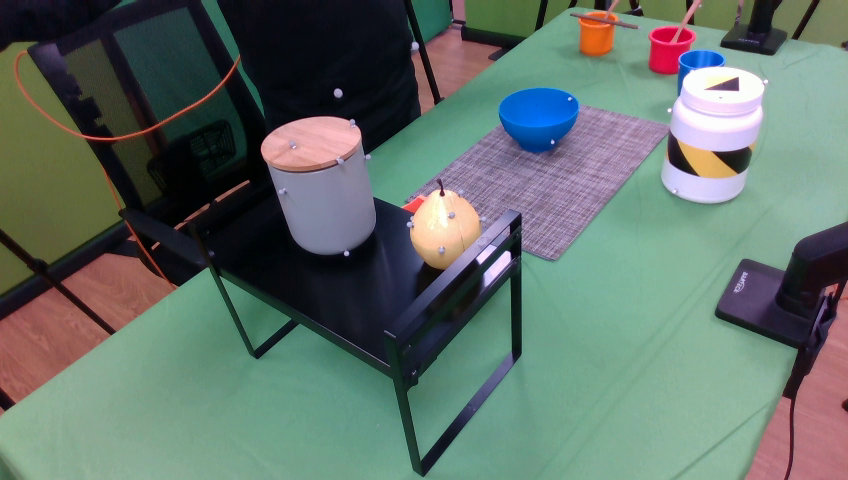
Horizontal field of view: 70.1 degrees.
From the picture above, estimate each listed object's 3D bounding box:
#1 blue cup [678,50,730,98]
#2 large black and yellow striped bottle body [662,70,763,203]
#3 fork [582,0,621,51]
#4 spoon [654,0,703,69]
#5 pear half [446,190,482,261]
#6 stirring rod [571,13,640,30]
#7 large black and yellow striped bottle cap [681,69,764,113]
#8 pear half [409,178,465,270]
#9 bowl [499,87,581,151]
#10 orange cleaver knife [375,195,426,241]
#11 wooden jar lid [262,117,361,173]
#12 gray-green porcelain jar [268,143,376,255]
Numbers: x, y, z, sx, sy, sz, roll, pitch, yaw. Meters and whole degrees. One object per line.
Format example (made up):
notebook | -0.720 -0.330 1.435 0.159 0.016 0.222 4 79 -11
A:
blue cup | 0.542 -0.310 1.194 0.092 0.101 0.092 -6 41 6
large black and yellow striped bottle body | 0.464 -0.166 0.976 0.131 0.185 0.130 -5 41 5
fork | 0.446 -0.539 1.438 0.207 0.019 0.028 -57 36 12
spoon | 0.569 -0.462 1.335 0.041 0.022 0.193 34 99 37
pear half | 0.046 -0.020 0.665 0.031 0.088 0.070 -17 38 -8
stirring rod | 0.419 -0.508 1.404 0.174 0.006 0.014 28 55 35
large black and yellow striped bottle cap | 0.453 -0.229 0.921 0.115 0.019 0.114 -4 39 4
pear half | 0.010 -0.019 0.654 0.056 0.110 0.076 -17 37 -9
bowl | 0.220 -0.223 1.156 0.151 0.077 0.150 -4 40 4
orange cleaver knife | -0.037 -0.029 0.973 0.210 0.077 0.012 -8 33 50
wooden jar lid | -0.122 -0.101 0.663 0.108 0.021 0.108 -3 39 3
gray-green porcelain jar | -0.114 -0.055 0.704 0.106 0.127 0.105 -4 40 4
